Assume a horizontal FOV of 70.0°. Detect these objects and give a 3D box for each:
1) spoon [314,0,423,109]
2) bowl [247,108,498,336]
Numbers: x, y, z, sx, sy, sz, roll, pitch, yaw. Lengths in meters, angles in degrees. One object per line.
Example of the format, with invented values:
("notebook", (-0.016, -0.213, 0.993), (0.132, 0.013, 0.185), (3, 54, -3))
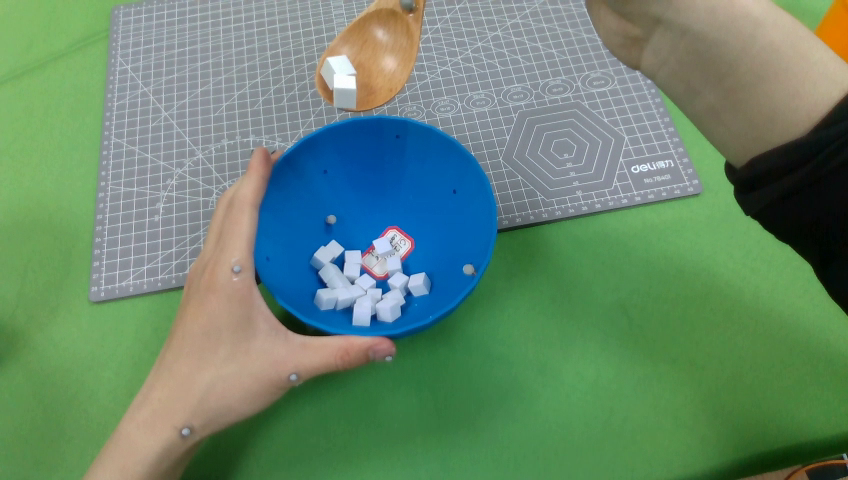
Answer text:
("spoon", (0.011, -0.142, 0.270), (0.041, 0.022, 0.194), (32, 93, 14))
("bowl", (-0.029, -0.002, 0.396), (0.151, 0.077, 0.150), (-1, 66, 2))
